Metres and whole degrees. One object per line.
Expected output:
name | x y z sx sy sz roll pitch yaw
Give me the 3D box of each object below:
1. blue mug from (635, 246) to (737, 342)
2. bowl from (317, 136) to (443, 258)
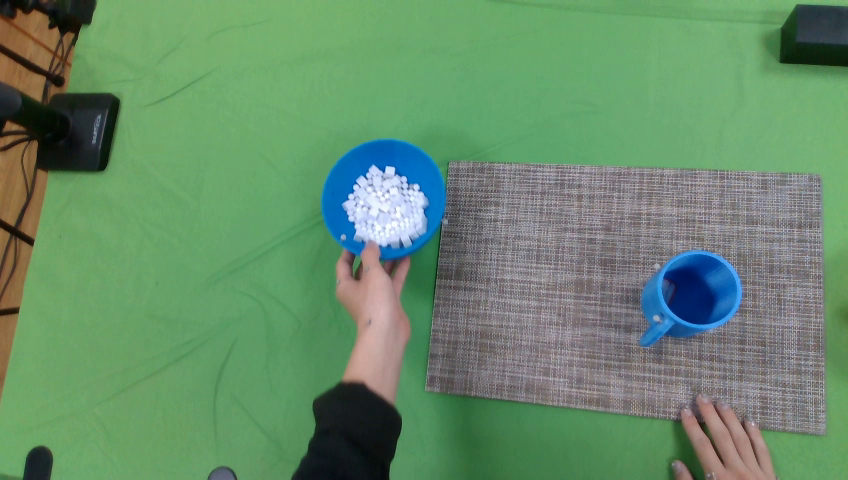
blue mug | 0.275 0.069 0.669 0.082 0.106 0.116 42 88 16
bowl | -0.048 -0.043 0.745 0.151 0.077 0.150 -1 76 6
